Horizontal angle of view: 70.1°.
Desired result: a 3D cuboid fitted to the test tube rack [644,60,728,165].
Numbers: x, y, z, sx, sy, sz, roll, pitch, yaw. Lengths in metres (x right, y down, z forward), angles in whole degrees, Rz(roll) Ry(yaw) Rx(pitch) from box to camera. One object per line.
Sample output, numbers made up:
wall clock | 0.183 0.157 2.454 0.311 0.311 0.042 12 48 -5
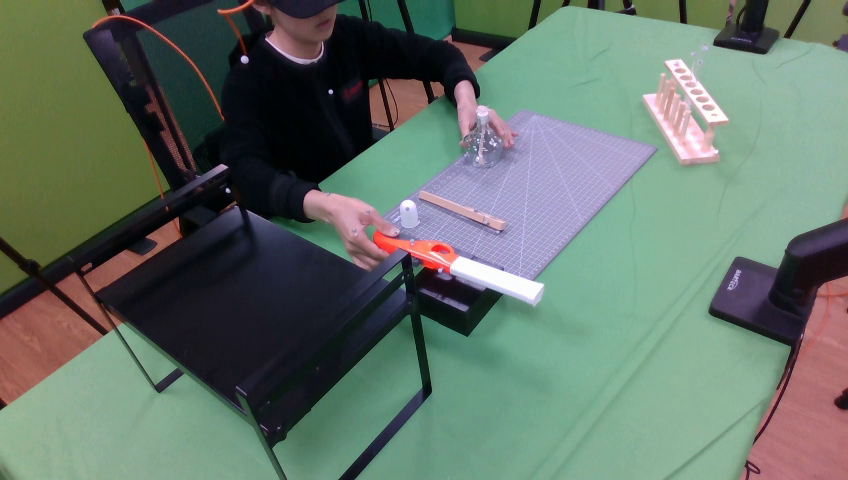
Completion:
test tube rack | 0.485 -0.246 1.140 0.067 0.085 0.241 -5 41 4

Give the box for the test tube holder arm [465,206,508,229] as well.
test tube holder arm | 0.100 -0.038 1.005 0.087 0.015 0.010 23 14 32

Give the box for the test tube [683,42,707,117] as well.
test tube | 0.497 -0.292 1.114 0.017 0.151 0.017 -4 44 4

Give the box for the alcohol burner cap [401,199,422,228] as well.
alcohol burner cap | -0.022 -0.047 1.014 0.034 0.048 0.033 -4 42 4

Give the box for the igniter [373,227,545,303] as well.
igniter | 0.037 0.029 0.837 0.274 0.025 0.057 18 43 30

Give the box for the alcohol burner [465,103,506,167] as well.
alcohol burner | 0.112 -0.196 1.112 0.078 0.119 0.077 -5 39 4

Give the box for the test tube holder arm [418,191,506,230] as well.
test tube holder arm | 0.061 -0.052 1.024 0.177 0.015 0.013 23 14 31
